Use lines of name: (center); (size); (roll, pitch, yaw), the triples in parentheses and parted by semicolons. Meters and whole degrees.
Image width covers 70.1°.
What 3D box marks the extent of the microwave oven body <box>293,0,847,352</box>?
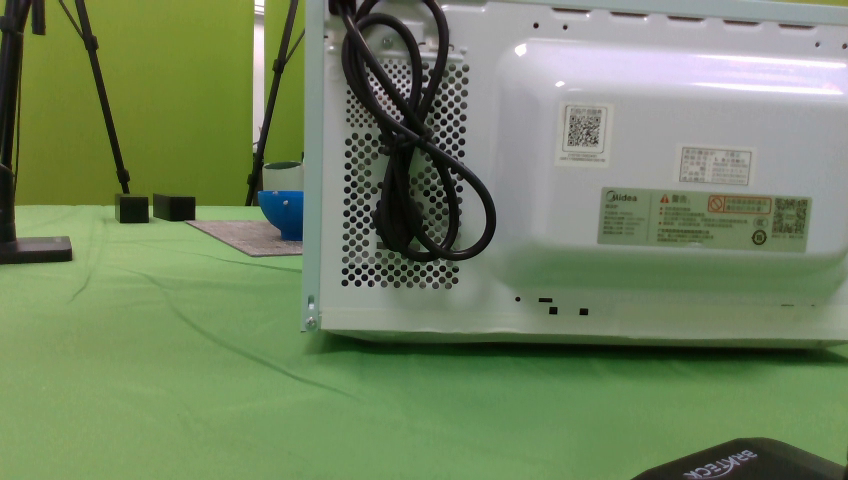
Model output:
microwave oven body: (0.122, -0.055, 0.550); (0.442, 0.260, 0.325); (3, 7, -5)

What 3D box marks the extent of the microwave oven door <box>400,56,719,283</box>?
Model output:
microwave oven door: (0.155, -0.078, 0.697); (0.356, 0.243, 0.039); (2, 8, -5)

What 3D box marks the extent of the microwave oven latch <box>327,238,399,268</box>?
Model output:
microwave oven latch: (-0.069, 0.015, 0.694); (0.079, 0.029, 0.030); (3, 7, -3)

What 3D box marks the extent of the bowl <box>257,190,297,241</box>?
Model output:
bowl: (-0.206, -0.041, 1.027); (0.151, 0.077, 0.151); (3, 8, 0)

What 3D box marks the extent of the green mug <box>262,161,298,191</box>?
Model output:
green mug: (-0.273, -0.107, 1.241); (0.092, 0.105, 0.126); (10, 23, 31)
